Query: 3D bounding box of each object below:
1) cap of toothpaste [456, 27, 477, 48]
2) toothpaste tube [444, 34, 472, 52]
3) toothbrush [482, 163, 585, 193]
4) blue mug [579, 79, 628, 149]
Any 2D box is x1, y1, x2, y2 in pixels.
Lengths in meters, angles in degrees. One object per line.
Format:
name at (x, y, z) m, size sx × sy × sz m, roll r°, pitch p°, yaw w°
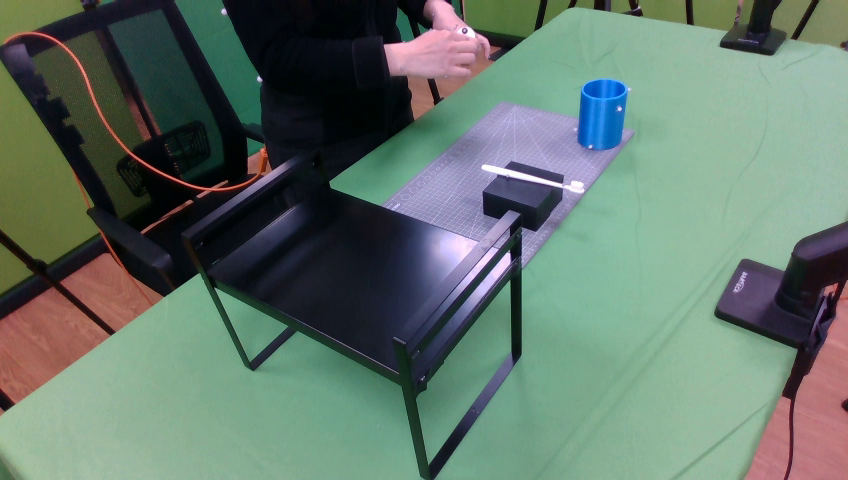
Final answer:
cap of toothpaste at (0.074, -0.350, 1.047) m, size 0.037 × 0.037 × 0.011 m, roll -10°, pitch 14°, yaw -3°
toothpaste tube at (0.072, -0.365, 1.125) m, size 0.055 × 0.034 × 0.164 m, roll 18°, pitch 11°, yaw -7°
toothbrush at (0.178, -0.105, 0.997) m, size 0.180 × 0.017 × 0.014 m, roll 17°, pitch 51°, yaw 26°
blue mug at (0.336, -0.246, 1.143) m, size 0.082 × 0.106 × 0.116 m, roll 0°, pitch 41°, yaw 10°
